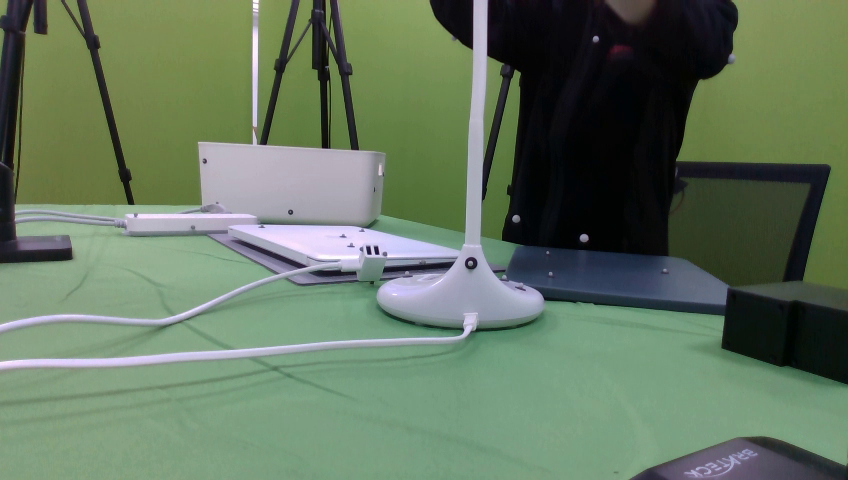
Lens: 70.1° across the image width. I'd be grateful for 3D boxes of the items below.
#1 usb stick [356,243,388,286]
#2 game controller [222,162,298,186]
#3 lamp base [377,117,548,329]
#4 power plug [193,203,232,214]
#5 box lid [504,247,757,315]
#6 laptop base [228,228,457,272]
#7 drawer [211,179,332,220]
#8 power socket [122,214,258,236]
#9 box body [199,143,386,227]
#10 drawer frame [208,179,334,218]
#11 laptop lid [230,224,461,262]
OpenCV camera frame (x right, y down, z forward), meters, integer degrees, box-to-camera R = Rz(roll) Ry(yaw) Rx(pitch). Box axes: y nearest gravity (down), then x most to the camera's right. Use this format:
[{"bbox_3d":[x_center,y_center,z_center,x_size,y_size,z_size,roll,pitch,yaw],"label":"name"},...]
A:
[{"bbox_3d":[-0.058,0.029,0.658,0.027,0.059,0.021,-5,52,-18],"label":"usb stick"},{"bbox_3d":[-0.357,-0.143,1.321,0.156,0.051,0.097,1,2,-16],"label":"game controller"},{"bbox_3d":[0.041,-0.019,0.551,0.161,0.180,0.179,1,10,-10],"label":"lamp base"},{"bbox_3d":[-0.393,-0.042,1.139,0.072,0.052,0.035,-14,1,31],"label":"power plug"},{"bbox_3d":[0.244,0.044,0.793,0.263,0.015,0.372,4,7,11],"label":"box lid"},{"bbox_3d":[-0.122,0.011,0.889,0.237,0.023,0.352,2,6,-35],"label":"laptop base"},{"bbox_3d":[-0.328,-0.095,1.332,0.212,0.073,0.194,5,8,6],"label":"drawer"},{"bbox_3d":[-0.398,-0.028,1.049,0.228,0.032,0.072,-3,8,-34],"label":"power socket"},{"bbox_3d":[-0.276,-0.124,1.334,0.364,0.160,0.254,3,7,1],"label":"box body"},{"bbox_3d":[-0.327,-0.093,1.328,0.213,0.082,0.202,0,5,6],"label":"drawer frame"},{"bbox_3d":[-0.119,0.000,0.889,0.243,0.013,0.355,1,7,-33],"label":"laptop lid"}]
